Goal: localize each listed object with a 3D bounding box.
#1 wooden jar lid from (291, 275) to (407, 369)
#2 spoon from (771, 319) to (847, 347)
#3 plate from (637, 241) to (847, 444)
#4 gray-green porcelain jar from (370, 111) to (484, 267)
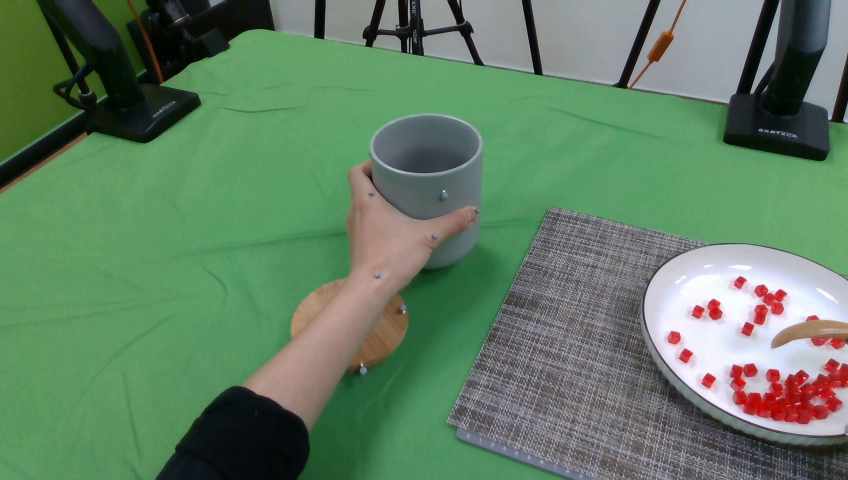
[{"bbox_3d":[-0.069,0.077,0.566,0.108,0.021,0.107,0,44,1],"label":"wooden jar lid"},{"bbox_3d":[0.329,0.062,0.410,0.042,0.193,0.021,-8,85,-29],"label":"spoon"},{"bbox_3d":[0.287,0.084,0.518,0.207,0.039,0.205,-1,42,2],"label":"plate"},{"bbox_3d":[0.004,-0.045,0.597,0.106,0.127,0.105,-1,43,1],"label":"gray-green porcelain jar"}]
